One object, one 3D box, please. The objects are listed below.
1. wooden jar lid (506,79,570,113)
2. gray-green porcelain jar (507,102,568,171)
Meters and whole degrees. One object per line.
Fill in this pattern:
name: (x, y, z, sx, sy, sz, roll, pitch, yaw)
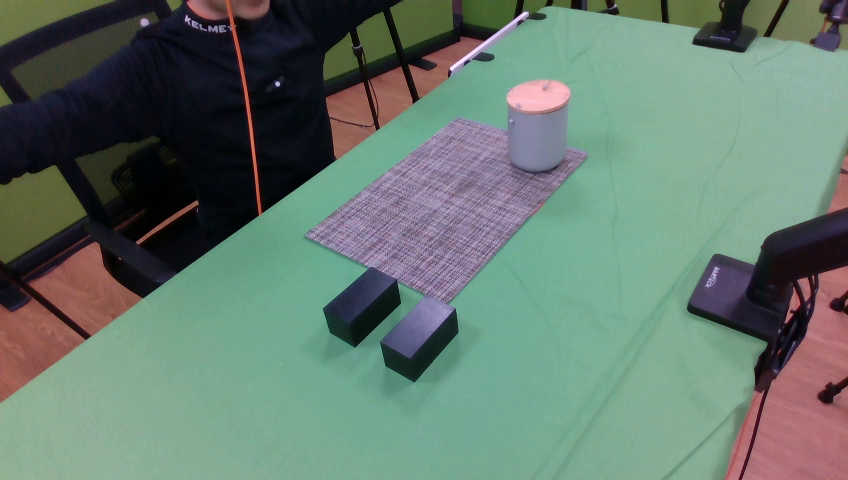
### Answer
wooden jar lid: (0.197, -0.243, 1.041, 0.108, 0.021, 0.108, -7, 41, 7)
gray-green porcelain jar: (0.202, -0.196, 1.081, 0.106, 0.127, 0.105, -4, 41, 4)
